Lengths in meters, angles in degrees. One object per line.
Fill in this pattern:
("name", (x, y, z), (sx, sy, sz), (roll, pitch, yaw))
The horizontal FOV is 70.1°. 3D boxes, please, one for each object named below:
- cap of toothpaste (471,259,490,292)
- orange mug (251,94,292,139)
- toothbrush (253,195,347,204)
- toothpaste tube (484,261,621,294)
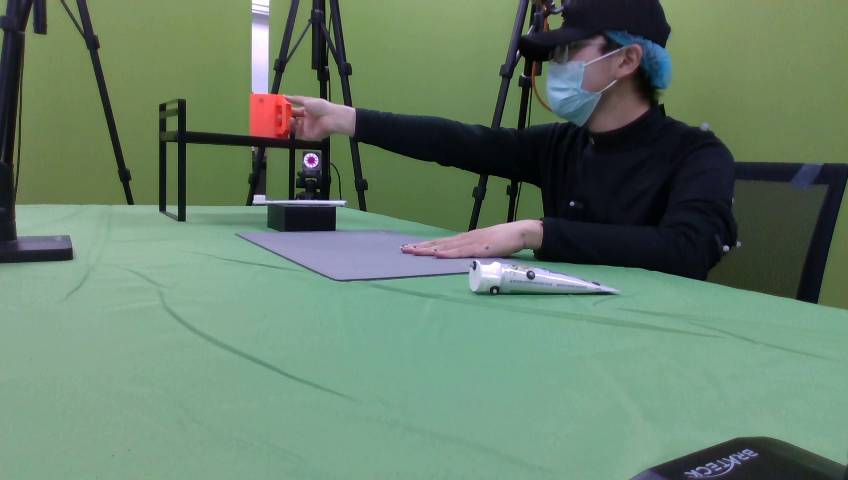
("cap of toothpaste", (0.061, 0.038, 0.651), (0.011, 0.037, 0.037), (4, 7, -18))
("orange mug", (-0.339, -0.280, 1.364), (0.125, 0.100, 0.084), (4, 7, 45))
("toothbrush", (-0.234, -0.076, 1.154), (0.183, 0.016, 0.014), (-1, 4, -27))
("toothpaste tube", (0.136, 0.045, 0.674), (0.166, 0.034, 0.055), (4, 11, -18))
